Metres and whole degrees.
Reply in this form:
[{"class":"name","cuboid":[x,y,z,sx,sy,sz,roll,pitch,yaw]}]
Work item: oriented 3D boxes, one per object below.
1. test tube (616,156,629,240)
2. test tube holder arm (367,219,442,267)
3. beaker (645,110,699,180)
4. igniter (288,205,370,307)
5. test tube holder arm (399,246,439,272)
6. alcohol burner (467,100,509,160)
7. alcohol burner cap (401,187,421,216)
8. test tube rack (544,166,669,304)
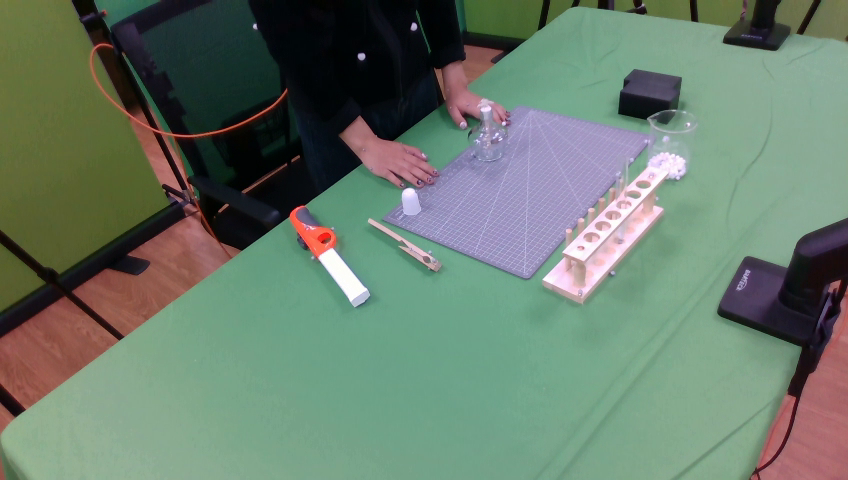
[{"class":"test tube","cuboid":[0.284,-0.057,0.869,0.017,0.151,0.017,-8,42,8]},{"class":"test tube holder arm","cuboid":[-0.035,0.003,0.985,0.177,0.015,0.013,32,89,40]},{"class":"beaker","cuboid":[0.417,-0.160,1.033,0.083,0.101,0.074,25,51,35]},{"class":"igniter","cuboid":[-0.163,0.018,0.986,0.057,0.025,0.274,-33,45,-12]},{"class":"test tube holder arm","cuboid":[-0.009,0.027,0.957,0.087,0.015,0.010,34,91,40]},{"class":"alcohol burner","cuboid":[0.118,-0.210,1.131,0.078,0.119,0.077,-6,42,5]},{"class":"alcohol burner cap","cuboid":[-0.025,-0.070,1.048,0.034,0.048,0.033,-5,41,5]},{"class":"test tube rack","cuboid":[0.274,-0.018,0.903,0.066,0.085,0.243,26,51,35]}]
